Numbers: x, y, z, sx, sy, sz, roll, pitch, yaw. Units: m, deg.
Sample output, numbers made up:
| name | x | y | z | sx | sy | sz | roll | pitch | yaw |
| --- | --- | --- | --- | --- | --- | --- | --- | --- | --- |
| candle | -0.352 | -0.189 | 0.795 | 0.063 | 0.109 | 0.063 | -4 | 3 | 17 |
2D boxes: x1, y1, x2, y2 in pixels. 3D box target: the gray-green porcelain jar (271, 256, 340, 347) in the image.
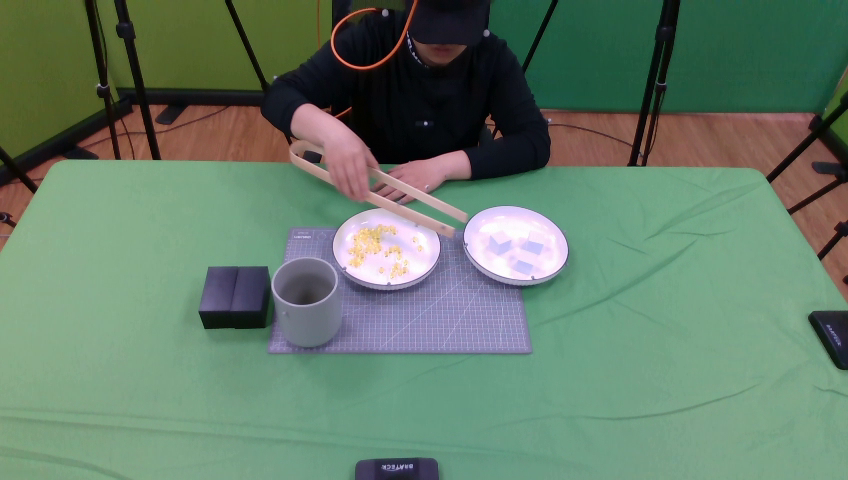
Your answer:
| name | x | y | z | sx | sy | sz | roll | pitch | yaw |
| --- | --- | --- | --- | --- | --- | --- | --- | --- | --- |
| gray-green porcelain jar | -0.193 | 0.107 | 1.004 | 0.106 | 0.127 | 0.105 | 2 | 46 | -2 |

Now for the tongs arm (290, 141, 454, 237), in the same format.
| name | x | y | z | sx | sy | sz | roll | pitch | yaw |
| --- | --- | --- | --- | --- | --- | --- | --- | --- | --- |
| tongs arm | -0.106 | -0.102 | 1.161 | 0.384 | 0.026 | 0.050 | 24 | 50 | 15 |

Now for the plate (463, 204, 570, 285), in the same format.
| name | x | y | z | sx | sy | sz | roll | pitch | yaw |
| --- | --- | --- | --- | --- | --- | --- | --- | --- | --- |
| plate | 0.178 | 0.012 | 1.184 | 0.209 | 0.038 | 0.208 | 3 | 46 | -3 |

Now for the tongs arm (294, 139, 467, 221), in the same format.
| name | x | y | z | sx | sy | sz | roll | pitch | yaw |
| --- | --- | --- | --- | --- | --- | --- | --- | --- | --- |
| tongs arm | -0.089 | -0.120 | 1.181 | 0.386 | 0.028 | 0.028 | 25 | 54 | 16 |

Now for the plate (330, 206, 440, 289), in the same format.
| name | x | y | z | sx | sy | sz | roll | pitch | yaw |
| --- | --- | --- | --- | --- | --- | --- | --- | --- | --- |
| plate | -0.074 | 0.017 | 1.160 | 0.208 | 0.039 | 0.206 | 2 | 46 | -2 |
